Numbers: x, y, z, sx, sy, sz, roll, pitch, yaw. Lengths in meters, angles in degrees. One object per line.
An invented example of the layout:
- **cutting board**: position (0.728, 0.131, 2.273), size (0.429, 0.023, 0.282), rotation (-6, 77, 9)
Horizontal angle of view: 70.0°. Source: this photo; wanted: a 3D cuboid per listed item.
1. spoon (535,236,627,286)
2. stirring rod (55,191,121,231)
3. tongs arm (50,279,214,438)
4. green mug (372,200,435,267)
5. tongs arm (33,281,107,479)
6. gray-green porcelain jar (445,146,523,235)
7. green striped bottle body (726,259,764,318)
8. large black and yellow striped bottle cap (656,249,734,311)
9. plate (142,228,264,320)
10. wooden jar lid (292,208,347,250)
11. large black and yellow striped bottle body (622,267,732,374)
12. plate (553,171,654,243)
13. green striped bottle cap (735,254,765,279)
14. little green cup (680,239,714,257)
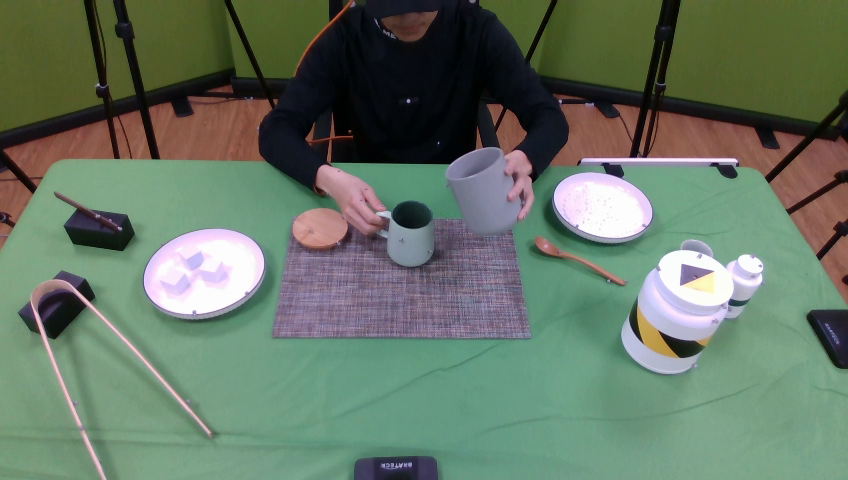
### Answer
- **spoon**: position (0.303, 0.040, 1.178), size (0.193, 0.022, 0.041), rotation (26, 33, 20)
- **stirring rod**: position (-0.632, -0.055, 1.138), size (0.175, 0.014, 0.006), rotation (24, 51, 19)
- **tongs arm**: position (-0.459, 0.178, 0.949), size (0.386, 0.028, 0.028), rotation (37, 60, 17)
- **green mug**: position (-0.040, -0.016, 1.146), size (0.125, 0.105, 0.092), rotation (17, 48, 13)
- **tongs arm**: position (-0.517, 0.214, 0.910), size (0.051, 0.026, 0.383), rotation (-29, 63, -26)
- **gray-green porcelain jar**: position (0.107, -0.080, 1.037), size (0.106, 0.127, 0.105), rotation (-19, 29, 11)
- **green striped bottle body**: position (0.563, 0.081, 1.089), size (0.063, 0.120, 0.063), rotation (2, 46, -2)
- **large black and yellow striped bottle cap**: position (0.419, 0.061, 0.938), size (0.115, 0.019, 0.114), rotation (2, 47, -2)
- **plate**: position (-0.394, 0.064, 1.095), size (0.208, 0.039, 0.206), rotation (2, 46, -2)
- **wooden jar lid**: position (-0.206, -0.020, 1.196), size (0.108, 0.021, 0.107), rotation (3, 46, -3)
- **large black and yellow striped bottle body**: position (0.415, 0.119, 0.997), size (0.131, 0.185, 0.130), rotation (2, 46, -2)
- **plate**: position (0.373, -0.066, 1.274), size (0.209, 0.038, 0.208), rotation (2, 46, -2)
- **green striped bottle cap**: position (0.566, 0.046, 1.051), size (0.044, 0.020, 0.044), rotation (0, 45, 0)
- **little green cup**: position (0.530, 0.033, 1.189), size (0.061, 0.039, 0.061), rotation (2, 47, -2)
